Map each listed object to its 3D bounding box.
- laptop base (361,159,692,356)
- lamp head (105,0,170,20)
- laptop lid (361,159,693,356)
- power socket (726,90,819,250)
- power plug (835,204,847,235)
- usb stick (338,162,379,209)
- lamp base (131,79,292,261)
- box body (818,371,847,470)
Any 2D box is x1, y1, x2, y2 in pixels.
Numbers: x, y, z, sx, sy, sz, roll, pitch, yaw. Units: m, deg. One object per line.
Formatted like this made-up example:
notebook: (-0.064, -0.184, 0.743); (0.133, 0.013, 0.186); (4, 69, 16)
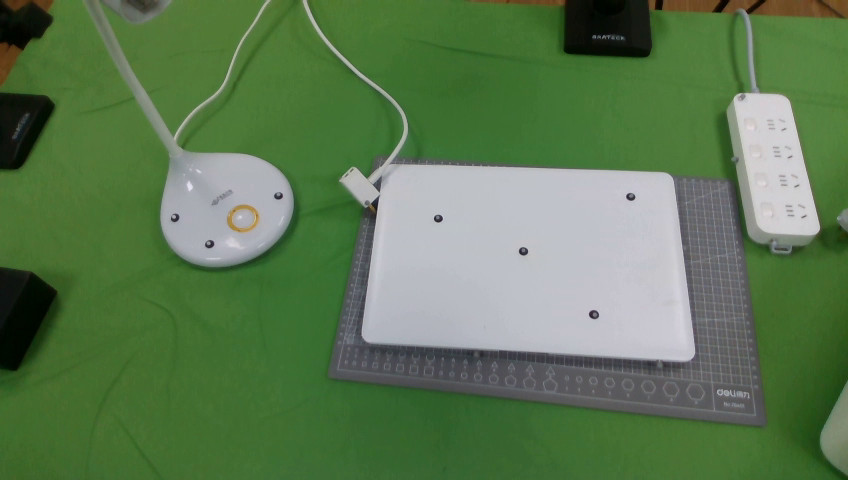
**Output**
laptop base: (0.114, 0.014, 0.700); (0.354, 0.023, 0.233); (2, 65, 4)
lamp head: (-0.223, -0.230, 0.414); (0.123, 0.112, 0.112); (32, 65, -7)
laptop lid: (0.113, 0.010, 0.689); (0.356, 0.013, 0.240); (4, 64, 5)
power socket: (0.418, -0.094, 0.735); (0.072, 0.033, 0.225); (5, 61, 4)
power plug: (0.503, -0.030, 0.692); (0.073, 0.053, 0.035); (-14, 57, -24)
usb stick: (-0.075, -0.064, 0.732); (0.027, 0.059, 0.021); (-43, 22, -9)
lamp base: (-0.257, -0.089, 0.684); (0.178, 0.182, 0.160); (30, 66, 21)
box body: (0.568, 0.111, 0.540); (0.252, 0.162, 0.363); (36, 69, 20)
